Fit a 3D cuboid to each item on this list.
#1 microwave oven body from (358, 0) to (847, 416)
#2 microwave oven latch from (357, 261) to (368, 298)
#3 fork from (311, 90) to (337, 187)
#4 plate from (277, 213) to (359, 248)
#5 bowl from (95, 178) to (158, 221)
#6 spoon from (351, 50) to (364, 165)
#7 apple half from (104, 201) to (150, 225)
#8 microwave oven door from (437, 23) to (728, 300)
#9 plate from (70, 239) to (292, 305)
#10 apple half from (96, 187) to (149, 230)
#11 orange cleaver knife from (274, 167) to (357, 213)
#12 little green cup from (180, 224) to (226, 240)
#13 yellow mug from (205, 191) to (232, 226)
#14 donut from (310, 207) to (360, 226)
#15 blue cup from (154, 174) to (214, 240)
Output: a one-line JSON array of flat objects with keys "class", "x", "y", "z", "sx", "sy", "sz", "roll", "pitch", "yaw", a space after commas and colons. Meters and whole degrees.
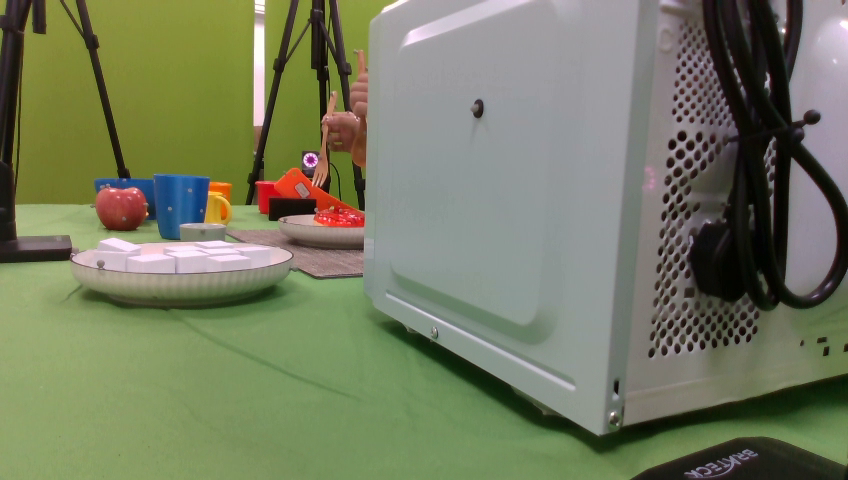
[{"class": "microwave oven body", "x": 0.211, "y": -0.047, "z": 0.474, "sx": 0.444, "sy": 0.260, "sz": 0.324, "roll": -1, "pitch": 7, "yaw": -28}, {"class": "microwave oven latch", "x": -0.019, "y": 0.033, "z": 0.530, "sx": 0.079, "sy": 0.029, "sz": 0.030, "roll": -1, "pitch": 7, "yaw": -26}, {"class": "fork", "x": -0.191, "y": -0.198, "z": 1.170, "sx": 0.028, "sy": 0.207, "sz": 0.019, "roll": 1, "pitch": -14, "yaw": 21}, {"class": "plate", "x": -0.135, "y": -0.017, "z": 0.992, "sx": 0.209, "sy": 0.038, "sz": 0.209, "roll": 2, "pitch": 8, "yaw": 0}, {"class": "bowl", "x": -0.576, "y": -0.081, "z": 1.217, "sx": 0.151, "sy": 0.077, "sz": 0.151, "roll": 3, "pitch": 8, "yaw": 0}, {"class": "spoon", "x": -0.099, "y": -0.214, "z": 0.977, "sx": 0.041, "sy": 0.193, "sz": 0.021, "roll": -2, "pitch": -2, "yaw": 1}, {"class": "apple half", "x": -0.548, "y": -0.044, "z": 1.115, "sx": 0.081, "sy": 0.033, "sz": 0.081, "roll": 18, "pitch": 6, "yaw": -2}, {"class": "microwave oven door", "x": 0.181, "y": -0.072, "z": 0.621, "sx": 0.358, "sy": 0.243, "sz": 0.039, "roll": -2, "pitch": 8, "yaw": -29}, {"class": "plate", "x": -0.242, "y": 0.031, "z": 0.618, "sx": 0.208, "sy": 0.039, "sz": 0.207, "roll": 2, "pitch": 8, "yaw": 0}, {"class": "apple half", "x": -0.516, "y": -0.052, "z": 1.035, "sx": 0.081, "sy": 0.074, "sz": 0.053, "roll": 3, "pitch": 10, "yaw": -26}, {"class": "orange cleaver knife", "x": -0.238, "y": -0.090, "z": 1.381, "sx": 0.212, "sy": 0.077, "sz": 0.012, "roll": 31, "pitch": 0, "yaw": -19}, {"class": "little green cup", "x": -0.309, "y": -0.001, "z": 0.846, "sx": 0.061, "sy": 0.038, "sz": 0.061, "roll": 2, "pitch": 8, "yaw": 0}, {"class": "yellow mug", "x": -0.415, "y": -0.057, "z": 1.131, "sx": 0.130, "sy": 0.064, "sz": 0.100, "roll": 6, "pitch": 8, "yaw": 16}, {"class": "donut", "x": -0.137, "y": -0.029, "z": 0.995, "sx": 0.099, "sy": 0.048, "sz": 0.099, "roll": 4, "pitch": 8, "yaw": 0}, {"class": "blue cup", "x": -0.391, "y": -0.053, "z": 0.978, "sx": 0.093, "sy": 0.100, "sz": 0.092, "roll": 4, "pitch": 6, "yaw": 0}]
